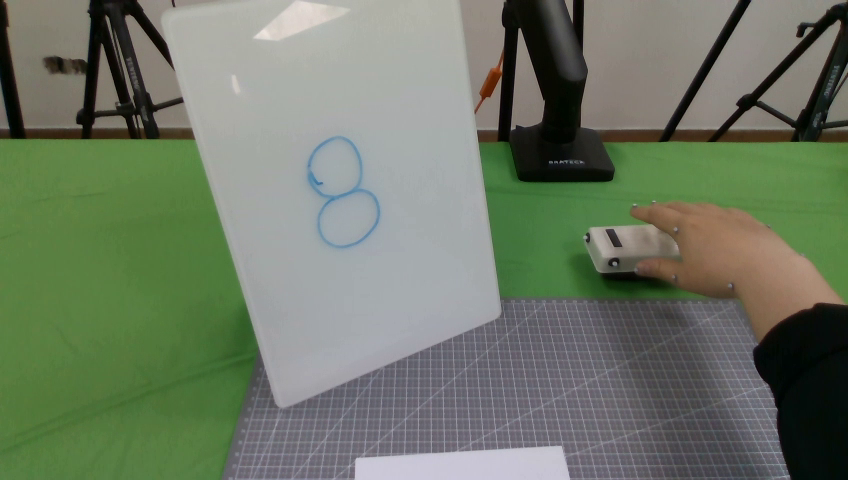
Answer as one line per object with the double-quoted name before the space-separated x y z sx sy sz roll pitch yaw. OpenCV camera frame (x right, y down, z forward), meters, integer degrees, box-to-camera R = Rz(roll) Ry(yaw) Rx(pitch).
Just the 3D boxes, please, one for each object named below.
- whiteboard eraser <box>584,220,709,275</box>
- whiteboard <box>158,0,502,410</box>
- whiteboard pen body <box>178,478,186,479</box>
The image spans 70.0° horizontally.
"whiteboard eraser" 0.224 0.008 0.617 0.113 0.042 0.055 -1 40 -4
"whiteboard" -0.076 -0.054 0.525 0.218 0.307 0.142 -19 23 -22
"whiteboard pen body" -0.217 0.197 0.385 0.141 0.017 0.017 -27 47 -32
